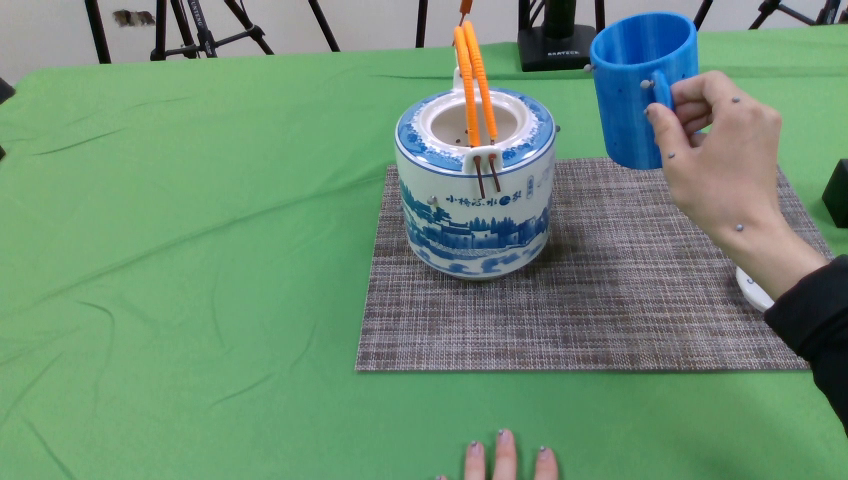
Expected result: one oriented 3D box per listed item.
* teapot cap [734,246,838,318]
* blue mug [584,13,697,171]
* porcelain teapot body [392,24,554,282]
[{"bbox_3d":[0.322,0.031,0.539,0.085,0.044,0.084,-1,42,2],"label":"teapot cap"},{"bbox_3d":[0.188,-0.114,0.509,0.082,0.107,0.115,-15,43,13],"label":"blue mug"},{"bbox_3d":[0.042,-0.098,0.575,0.145,0.227,0.203,-6,43,-1],"label":"porcelain teapot body"}]
